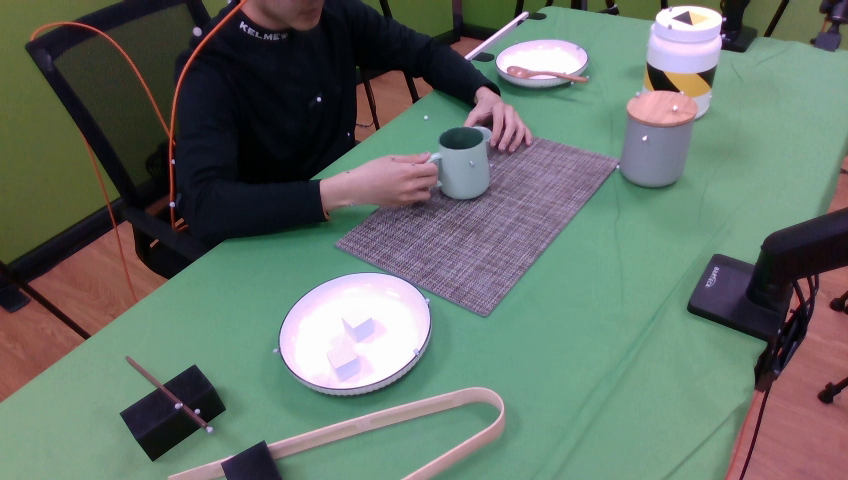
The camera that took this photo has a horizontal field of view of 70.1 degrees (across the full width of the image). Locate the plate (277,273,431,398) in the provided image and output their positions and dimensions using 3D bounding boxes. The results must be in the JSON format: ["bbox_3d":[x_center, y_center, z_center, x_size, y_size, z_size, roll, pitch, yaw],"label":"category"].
[{"bbox_3d":[-0.091,0.129,0.821,0.207,0.039,0.206,-4,40,4],"label":"plate"}]

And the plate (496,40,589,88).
[{"bbox_3d":[0.269,-0.398,1.381,0.209,0.038,0.208,-4,41,4],"label":"plate"}]

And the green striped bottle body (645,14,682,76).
[{"bbox_3d":[0.520,-0.424,1.312,0.063,0.120,0.063,-4,40,4],"label":"green striped bottle body"}]

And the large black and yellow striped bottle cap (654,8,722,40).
[{"bbox_3d":[0.483,-0.397,1.108,0.115,0.019,0.114,-3,41,3],"label":"large black and yellow striped bottle cap"}]

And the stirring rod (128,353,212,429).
[{"bbox_3d":[-0.311,0.180,0.732,0.175,0.014,0.006,25,54,31],"label":"stirring rod"}]

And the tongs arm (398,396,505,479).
[{"bbox_3d":[-0.071,0.272,0.652,0.386,0.026,0.050,-21,37,-17],"label":"tongs arm"}]

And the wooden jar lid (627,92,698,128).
[{"bbox_3d":[0.384,-0.207,0.980,0.108,0.021,0.108,-6,39,5],"label":"wooden jar lid"}]

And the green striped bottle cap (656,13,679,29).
[{"bbox_3d":[0.515,-0.463,1.278,0.044,0.020,0.044,-6,42,6],"label":"green striped bottle cap"}]

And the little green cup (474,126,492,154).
[{"bbox_3d":[0.100,-0.185,1.151,0.061,0.039,0.061,-2,41,3],"label":"little green cup"}]

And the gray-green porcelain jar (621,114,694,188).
[{"bbox_3d":[0.390,-0.161,1.020,0.106,0.127,0.105,-4,41,4],"label":"gray-green porcelain jar"}]

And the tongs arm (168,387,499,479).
[{"bbox_3d":[-0.100,0.230,0.711,0.388,0.028,0.028,-13,32,-7],"label":"tongs arm"}]

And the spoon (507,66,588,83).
[{"bbox_3d":[0.265,-0.357,1.311,0.192,0.022,0.042,18,47,38],"label":"spoon"}]

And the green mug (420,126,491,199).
[{"bbox_3d":[0.053,-0.127,1.041,0.126,0.105,0.091,-20,43,-14],"label":"green mug"}]

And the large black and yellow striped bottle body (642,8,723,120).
[{"bbox_3d":[0.493,-0.334,1.161,0.131,0.185,0.130,-4,41,4],"label":"large black and yellow striped bottle body"}]
